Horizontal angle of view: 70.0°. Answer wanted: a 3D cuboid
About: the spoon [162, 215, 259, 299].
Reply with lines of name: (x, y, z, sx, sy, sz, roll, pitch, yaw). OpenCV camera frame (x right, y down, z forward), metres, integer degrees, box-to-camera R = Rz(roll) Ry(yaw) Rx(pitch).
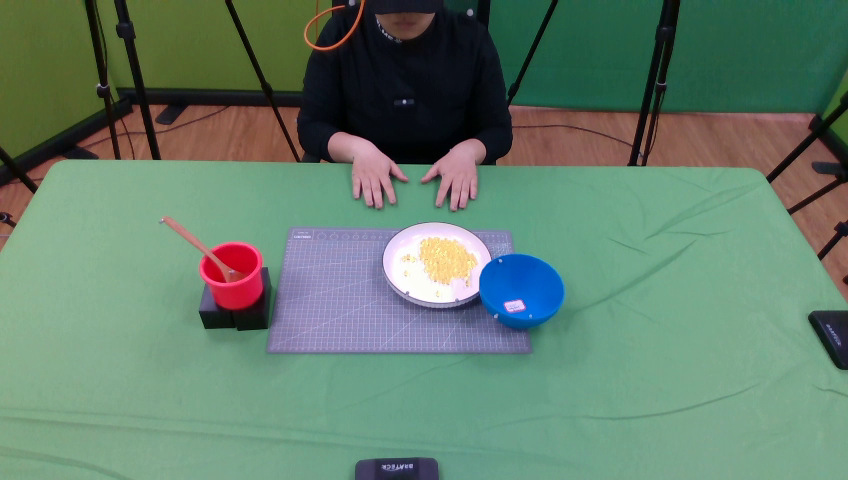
spoon: (-0.348, 0.027, 0.992, 0.194, 0.021, 0.041, 48, 51, -19)

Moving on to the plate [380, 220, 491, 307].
plate: (0.022, 0.048, 1.137, 0.208, 0.039, 0.206, 2, 46, -2)

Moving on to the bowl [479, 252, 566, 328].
bowl: (0.167, 0.102, 1.067, 0.151, 0.077, 0.150, 2, 46, -2)
